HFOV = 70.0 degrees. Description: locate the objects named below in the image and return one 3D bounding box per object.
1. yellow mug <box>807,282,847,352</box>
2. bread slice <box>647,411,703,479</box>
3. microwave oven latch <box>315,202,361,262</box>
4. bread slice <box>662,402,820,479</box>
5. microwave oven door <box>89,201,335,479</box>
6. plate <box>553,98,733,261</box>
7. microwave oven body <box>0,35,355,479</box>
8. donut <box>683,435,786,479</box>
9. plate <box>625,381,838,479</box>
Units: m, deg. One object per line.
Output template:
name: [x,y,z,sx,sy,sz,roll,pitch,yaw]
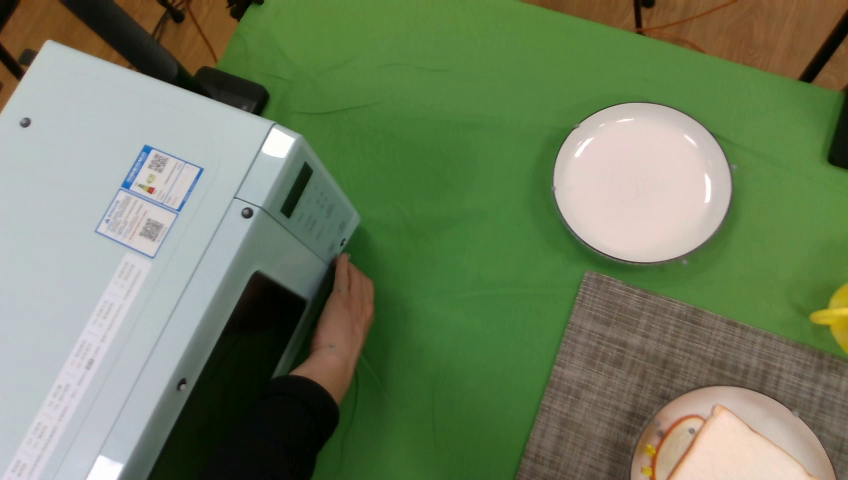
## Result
yellow mug: [0.486,0.081,0.652,0.130,0.064,0.099,-1,73,8]
bread slice: [0.306,0.249,0.641,0.131,0.019,0.104,33,81,14]
microwave oven latch: [-0.109,-0.014,0.751,0.030,0.030,0.079,30,81,14]
bread slice: [0.309,0.234,0.582,0.134,0.018,0.107,31,87,9]
microwave oven door: [-0.212,0.155,0.611,0.039,0.245,0.354,22,78,13]
plate: [0.262,-0.072,0.739,0.207,0.039,0.206,-2,74,7]
microwave oven body: [-0.326,0.067,0.656,0.325,0.262,0.440,22,79,13]
donut: [0.312,0.247,0.610,0.099,0.048,0.098,-2,73,6]
plate: [0.317,0.255,0.636,0.209,0.038,0.208,-2,74,7]
